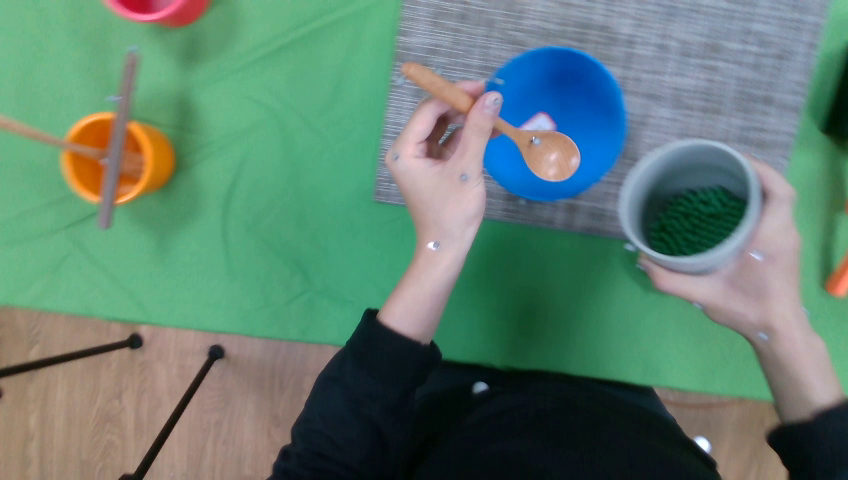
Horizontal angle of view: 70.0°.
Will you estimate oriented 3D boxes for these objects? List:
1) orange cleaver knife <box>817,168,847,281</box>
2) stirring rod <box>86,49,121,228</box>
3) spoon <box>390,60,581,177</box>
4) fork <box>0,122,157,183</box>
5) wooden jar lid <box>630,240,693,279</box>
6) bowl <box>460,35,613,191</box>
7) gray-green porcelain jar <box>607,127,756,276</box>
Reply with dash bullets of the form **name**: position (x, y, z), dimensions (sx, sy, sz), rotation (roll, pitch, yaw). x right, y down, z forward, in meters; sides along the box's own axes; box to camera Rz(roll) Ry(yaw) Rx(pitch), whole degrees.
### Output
- **orange cleaver knife**: position (0.470, -0.049, 0.648), dimensions (0.012, 0.076, 0.213), rotation (3, 129, -4)
- **stirring rod**: position (-0.315, -0.098, 0.595), dimensions (0.014, 0.006, 0.176), rotation (11, 100, -5)
- **spoon**: position (0.054, -0.092, 0.461), dimensions (0.195, 0.021, 0.042), rotation (18, 114, -40)
- **fork**: position (-0.368, -0.096, 0.596), dimensions (0.209, 0.018, 0.028), rotation (18, 112, -47)
- **wooden jar lid**: position (0.284, -0.009, 0.680), dimensions (0.108, 0.020, 0.109), rotation (0, 105, 1)
- **bowl**: position (0.110, -0.128, 0.628), dimensions (0.151, 0.076, 0.152), rotation (0, 100, 0)
- **gray-green porcelain jar**: position (0.233, -0.027, 0.538), dimensions (0.105, 0.127, 0.105), rotation (-10, 70, 31)
